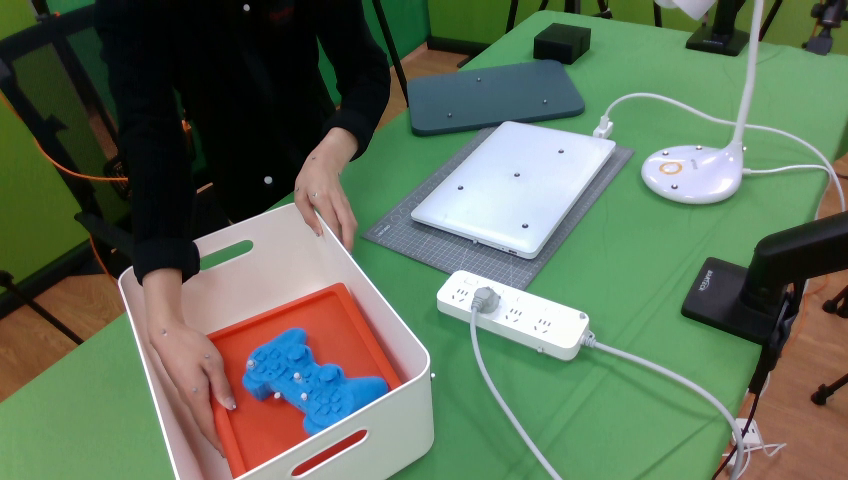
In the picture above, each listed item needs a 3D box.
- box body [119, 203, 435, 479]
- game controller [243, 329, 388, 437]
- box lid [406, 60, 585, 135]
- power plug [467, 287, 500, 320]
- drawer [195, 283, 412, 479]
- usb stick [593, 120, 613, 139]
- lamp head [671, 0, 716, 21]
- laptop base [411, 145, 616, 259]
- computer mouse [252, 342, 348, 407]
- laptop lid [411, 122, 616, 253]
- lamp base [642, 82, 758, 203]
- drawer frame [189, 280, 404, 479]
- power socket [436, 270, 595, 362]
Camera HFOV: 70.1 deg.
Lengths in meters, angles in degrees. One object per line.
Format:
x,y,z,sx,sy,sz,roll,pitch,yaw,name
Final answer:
-0.175,0.142,0.724,0.255,0.161,0.360,-25,43,-20,box body
-0.126,0.154,0.667,0.154,0.052,0.097,25,55,27,game controller
0.150,-0.320,1.340,0.372,0.015,0.261,-8,40,0,box lid
0.072,0.092,0.814,0.035,0.053,0.073,30,54,34,power plug
-0.145,0.173,0.721,0.195,0.073,0.210,-21,47,-20,drawer
0.336,-0.201,1.146,0.021,0.027,0.059,25,52,27,usb stick
0.375,-0.373,0.807,0.122,0.113,0.112,-40,27,32,lamp head
0.168,-0.101,1.073,0.234,0.023,0.355,17,46,31,laptop base
-0.155,0.162,0.755,0.118,0.041,0.062,-13,42,-16,computer mouse
0.165,-0.111,1.067,0.240,0.013,0.357,19,46,31,laptop lid
0.464,-0.174,0.992,0.179,0.181,0.159,-5,41,-1,lamp base
-0.145,0.172,0.718,0.202,0.083,0.211,-22,49,-20,drawer frame
0.118,0.101,0.832,0.225,0.033,0.072,19,48,27,power socket
